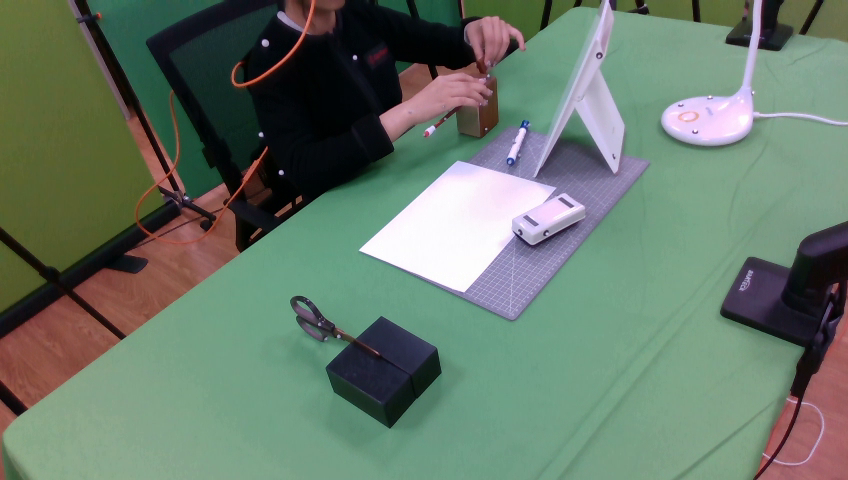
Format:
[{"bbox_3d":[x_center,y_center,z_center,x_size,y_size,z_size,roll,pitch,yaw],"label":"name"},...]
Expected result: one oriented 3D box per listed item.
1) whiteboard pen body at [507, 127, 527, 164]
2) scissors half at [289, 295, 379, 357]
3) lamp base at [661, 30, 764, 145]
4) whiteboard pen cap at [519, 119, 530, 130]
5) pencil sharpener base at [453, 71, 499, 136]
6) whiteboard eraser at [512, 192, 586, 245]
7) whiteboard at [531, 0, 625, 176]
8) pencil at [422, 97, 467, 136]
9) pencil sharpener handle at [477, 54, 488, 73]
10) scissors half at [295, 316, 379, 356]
[{"bbox_3d":[0.181,-0.189,1.162,0.017,0.017,0.140,8,42,19],"label":"whiteboard pen body"},{"bbox_3d":[-0.122,0.114,0.803,0.174,0.040,0.013,26,50,32],"label":"scissors half"},{"bbox_3d":[0.535,-0.287,1.096,0.179,0.181,0.159,-10,40,-4],"label":"lamp base"},{"bbox_3d":[0.199,-0.226,1.204,0.018,0.018,0.033,7,41,18],"label":"whiteboard pen cap"},{"bbox_3d":[0.108,-0.276,1.219,0.061,0.107,0.077,20,48,31],"label":"pencil sharpener base"},{"bbox_3d":[0.199,-0.032,0.962,0.113,0.042,0.055,-27,42,-20],"label":"whiteboard eraser"},{"bbox_3d":[0.320,-0.258,1.050,0.144,0.306,0.217,22,45,5],"label":"whiteboard"},{"bbox_3d":[0.055,-0.250,1.156,0.012,0.012,0.194,20,49,30],"label":"pencil"},{"bbox_3d":[0.127,-0.339,1.223,0.035,0.068,0.031,3,38,43],"label":"pencil sharpener handle"},{"bbox_3d":[-0.119,0.132,0.813,0.174,0.040,0.013,9,34,45],"label":"scissors half"}]
